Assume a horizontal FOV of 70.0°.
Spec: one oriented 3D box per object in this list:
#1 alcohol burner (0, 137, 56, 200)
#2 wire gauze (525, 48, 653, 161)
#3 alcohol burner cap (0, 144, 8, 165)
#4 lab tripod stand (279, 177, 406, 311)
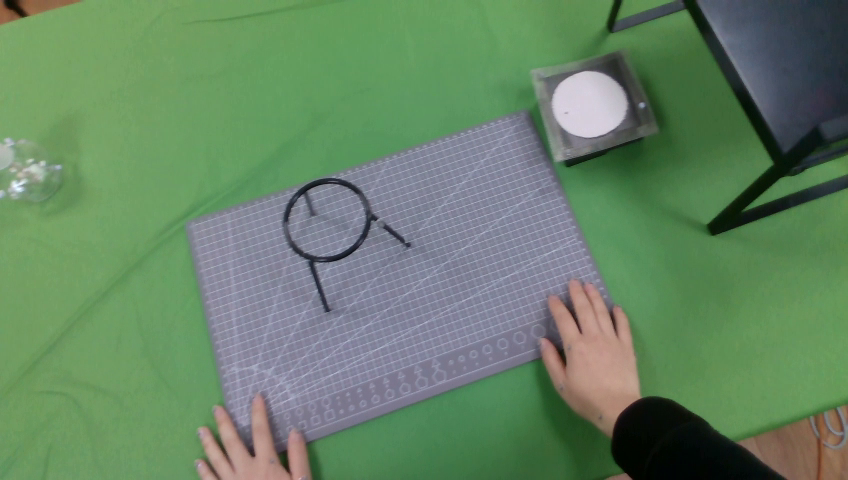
[{"bbox_3d":[-0.500,-0.093,0.721,0.078,0.120,0.077,-1,74,2],"label":"alcohol burner"},{"bbox_3d":[0.192,-0.163,0.712,0.121,0.011,0.124,-13,72,0],"label":"wire gauze"},{"bbox_3d":[-0.502,-0.105,0.687,0.034,0.048,0.033,1,72,-4],"label":"alcohol burner cap"},{"bbox_3d":[-0.100,-0.004,0.661,0.148,0.132,0.147,-1,73,5],"label":"lab tripod stand"}]
